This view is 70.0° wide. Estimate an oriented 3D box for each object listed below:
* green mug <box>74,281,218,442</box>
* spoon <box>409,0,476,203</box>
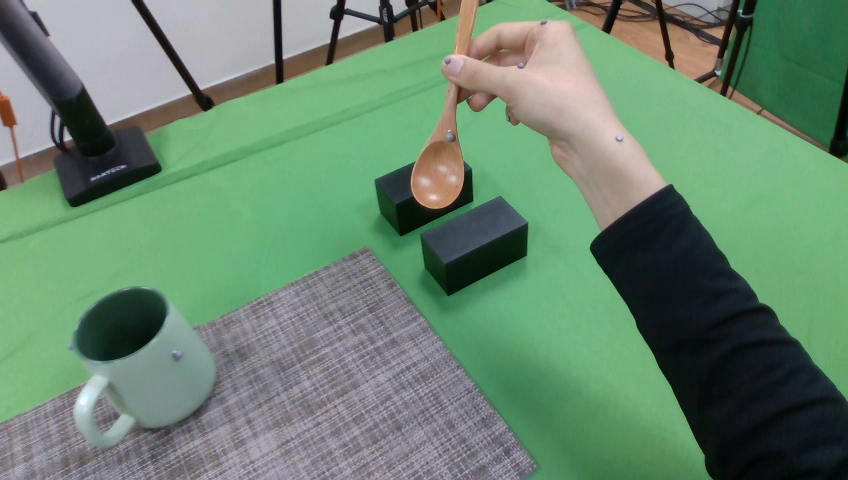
[{"bbox_3d":[-0.244,0.110,0.519,0.092,0.106,0.124,9,49,14],"label":"green mug"},{"bbox_3d":[0.023,-0.123,0.457,0.041,0.194,0.021,12,6,8],"label":"spoon"}]
